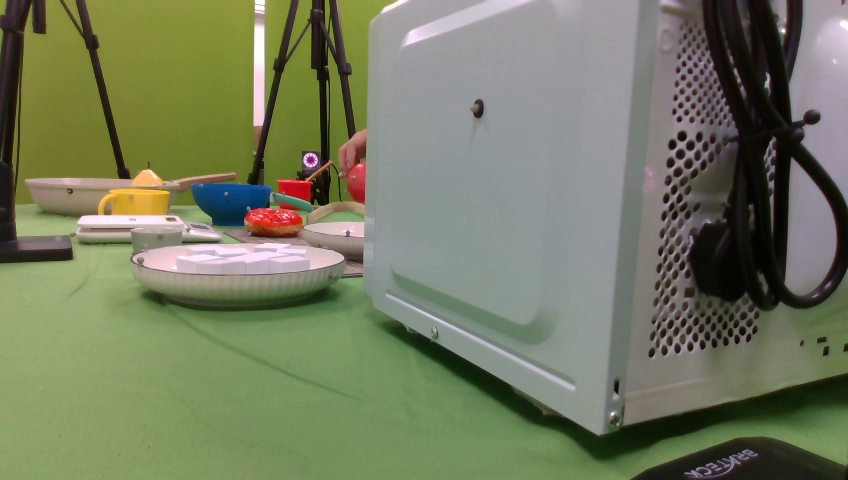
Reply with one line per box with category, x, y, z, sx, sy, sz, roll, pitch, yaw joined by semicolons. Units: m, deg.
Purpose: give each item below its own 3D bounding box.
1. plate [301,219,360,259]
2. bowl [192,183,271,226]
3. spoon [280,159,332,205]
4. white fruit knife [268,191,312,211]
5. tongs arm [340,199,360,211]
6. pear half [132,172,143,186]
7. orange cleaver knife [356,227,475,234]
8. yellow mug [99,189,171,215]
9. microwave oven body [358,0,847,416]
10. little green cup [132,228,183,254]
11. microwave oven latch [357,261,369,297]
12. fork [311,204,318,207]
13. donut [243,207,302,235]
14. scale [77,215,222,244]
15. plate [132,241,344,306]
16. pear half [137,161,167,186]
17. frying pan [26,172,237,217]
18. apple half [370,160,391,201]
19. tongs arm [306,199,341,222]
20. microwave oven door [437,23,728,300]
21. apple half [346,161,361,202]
plate;-0.077;-0.002;0.893;0.209;0.038;0.209;3;8;0
bowl;-0.382;-0.071;1.202;0.151;0.077;0.151;3;7;0
spoon;-0.316;-0.159;1.640;0.194;0.022;0.041;-50;32;-20
white fruit knife;-0.364;-0.105;1.464;0.208;0.027;0.016;15;0;-34
tongs arm;-0.149;-0.071;1.429;0.051;0.026;0.383;-3;9;-15
pear half;-0.638;-0.113;1.361;0.031;0.088;0.070;5;10;4
orange cleaver knife;-0.017;-0.016;1.080;0.211;0.012;0.077;-1;0;-2
yellow mug;-0.518;-0.055;1.080;0.099;0.064;0.131;6;9;26
microwave oven body;0.211;-0.047;0.474;0.444;0.260;0.324;-1;7;-28
little green cup;-0.342;0.006;0.779;0.061;0.038;0.061;2;8;0
microwave oven latch;-0.019;0.033;0.531;0.079;0.029;0.030;-1;7;-27
fork;-0.356;-0.105;1.526;0.208;0.018;0.028;16;-6;-41
donut;-0.261;-0.032;1.043;0.099;0.048;0.099;4;9;0
scale;-0.434;-0.019;0.963;0.202;0.031;0.148;-1;9;-27
plate;-0.187;0.033;0.625;0.208;0.039;0.207;2;8;0
pear half;-0.602;-0.120;1.354;0.056;0.110;0.076;4;11;6
frying pan;-0.624;-0.118;1.387;0.305;0.102;0.490;8;17;32
apple half;-0.076;-0.108;1.084;0.033;0.081;0.081;-5;7;5
tongs arm;-0.234;-0.070;1.413;0.028;0.028;0.387;-4;8;1
microwave oven door;0.180;-0.072;0.621;0.358;0.243;0.039;-2;8;-29
apple half;-0.113;-0.104;1.088;0.053;0.074;0.081;-6;6;6
